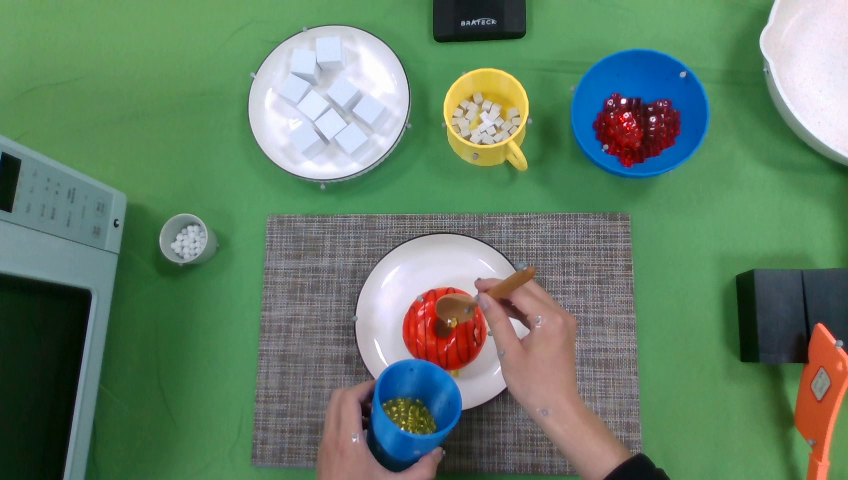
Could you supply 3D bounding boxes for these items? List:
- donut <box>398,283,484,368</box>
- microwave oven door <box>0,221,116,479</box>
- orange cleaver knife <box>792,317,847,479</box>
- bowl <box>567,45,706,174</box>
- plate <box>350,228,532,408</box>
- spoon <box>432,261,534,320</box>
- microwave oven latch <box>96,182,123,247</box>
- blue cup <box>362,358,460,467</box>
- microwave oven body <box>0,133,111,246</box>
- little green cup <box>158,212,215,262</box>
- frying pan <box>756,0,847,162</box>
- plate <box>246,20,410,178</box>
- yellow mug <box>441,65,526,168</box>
[{"bbox_3d":[0.019,0.097,0.694,0.099,0.048,0.099,-1,83,7],"label":"donut"},{"bbox_3d":[-0.425,0.165,0.618,0.039,0.245,0.354,3,80,6],"label":"microwave oven door"},{"bbox_3d":[0.407,0.186,0.634,0.012,0.077,0.212,-1,109,6],"label":"orange cleaver knife"},{"bbox_3d":[0.240,-0.141,0.711,0.151,0.077,0.151,-1,80,6],"label":"bowl"},{"bbox_3d":[0.019,0.091,0.707,0.209,0.038,0.208,-1,80,6],"label":"plate"},{"bbox_3d":[0.054,0.051,0.575,0.042,0.194,0.021,34,67,-8],"label":"spoon"},{"bbox_3d":[-0.398,-0.032,0.754,0.030,0.029,0.079,6,81,6],"label":"microwave oven latch"},{"bbox_3d":[-0.021,0.179,0.600,0.093,0.101,0.091,12,48,-13],"label":"blue cup"},{"bbox_3d":[-0.567,0.117,0.646,0.326,0.261,0.440,3,81,6],"label":"microwave oven body"},{"bbox_3d":[-0.294,-0.002,0.757,0.061,0.039,0.061,-1,81,5],"label":"little green cup"},{"bbox_3d":[0.518,-0.115,0.665,0.306,0.103,0.485,5,72,8],"label":"frying pan"},{"bbox_3d":[-0.119,-0.176,0.772,0.207,0.039,0.207,-1,80,5],"label":"plate"},{"bbox_3d":[0.081,-0.140,0.732,0.100,0.064,0.130,-37,79,-1],"label":"yellow mug"}]
